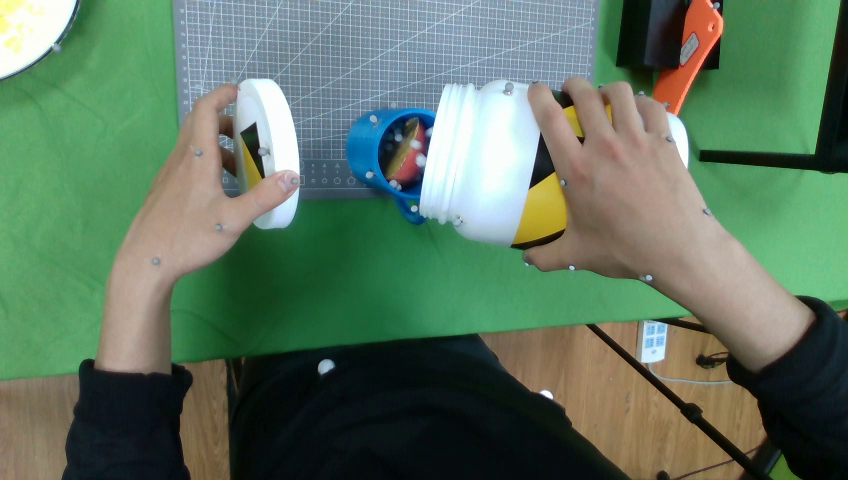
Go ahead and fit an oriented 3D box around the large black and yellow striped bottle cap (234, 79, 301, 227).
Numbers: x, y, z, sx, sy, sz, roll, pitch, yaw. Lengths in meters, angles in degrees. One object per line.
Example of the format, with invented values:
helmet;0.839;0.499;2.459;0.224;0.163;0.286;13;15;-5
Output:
large black and yellow striped bottle cap;-0.124;-0.066;0.472;0.019;0.114;0.115;-9;105;-30

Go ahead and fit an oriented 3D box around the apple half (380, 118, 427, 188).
apple half;-0.015;-0.079;0.591;0.033;0.081;0.081;33;88;-16

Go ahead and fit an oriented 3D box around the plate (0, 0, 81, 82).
plate;-0.375;-0.222;0.460;0.210;0.038;0.210;-5;104;-20

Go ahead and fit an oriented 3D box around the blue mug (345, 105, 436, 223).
blue mug;-0.022;-0.073;0.594;0.082;0.105;0.117;-18;107;-17

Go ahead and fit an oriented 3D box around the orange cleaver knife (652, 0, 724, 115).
orange cleaver knife;0.291;-0.179;0.710;0.012;0.076;0.213;0;128;-13

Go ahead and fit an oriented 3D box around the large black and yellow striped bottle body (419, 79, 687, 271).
large black and yellow striped bottle body;0.096;-0.054;0.486;0.184;0.130;0.131;12;98;2
